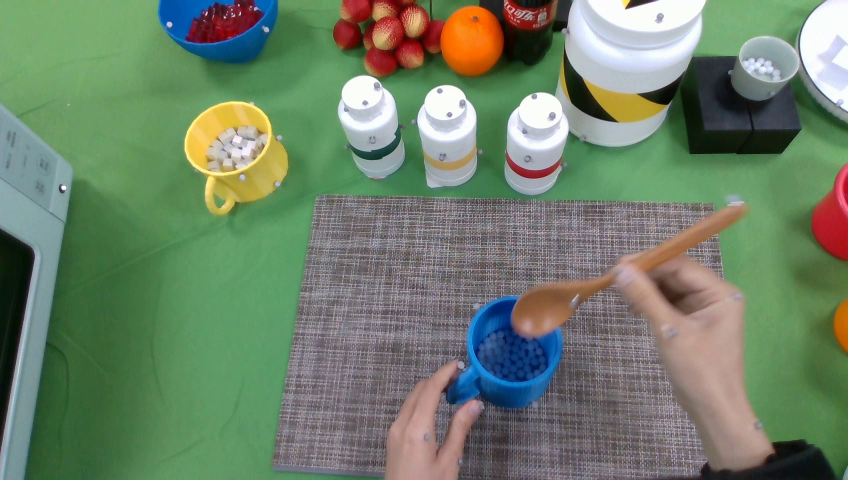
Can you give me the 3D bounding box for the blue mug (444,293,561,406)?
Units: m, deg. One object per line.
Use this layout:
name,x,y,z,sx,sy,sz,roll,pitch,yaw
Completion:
blue mug,0.067,0.114,0.565,0.116,0.106,0.081,-33,67,-9

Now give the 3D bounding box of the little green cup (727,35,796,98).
little green cup,0.362,-0.186,0.655,0.061,0.039,0.061,-1,64,2

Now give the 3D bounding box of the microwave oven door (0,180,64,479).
microwave oven door,-0.426,0.094,0.525,0.039,0.246,0.353,-7,66,2

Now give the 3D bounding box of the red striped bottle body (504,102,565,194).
red striped bottle body,0.117,-0.104,0.652,0.063,0.120,0.062,-3,65,6

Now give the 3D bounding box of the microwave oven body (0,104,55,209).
microwave oven body,-0.574,0.075,0.551,0.326,0.262,0.438,-7,67,1

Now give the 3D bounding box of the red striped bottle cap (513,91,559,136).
red striped bottle cap,0.112,-0.126,0.604,0.044,0.018,0.044,0,65,1

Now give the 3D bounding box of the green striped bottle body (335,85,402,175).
green striped bottle body,-0.062,-0.128,0.677,0.063,0.120,0.062,-2,66,4

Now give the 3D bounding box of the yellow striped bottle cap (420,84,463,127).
yellow striped bottle cap,0.018,-0.137,0.617,0.044,0.019,0.044,0,63,0

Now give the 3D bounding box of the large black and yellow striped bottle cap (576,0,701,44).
large black and yellow striped bottle cap,0.203,-0.236,0.575,0.115,0.019,0.114,-2,65,5

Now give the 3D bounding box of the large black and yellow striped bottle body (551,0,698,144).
large black and yellow striped bottle body,0.211,-0.204,0.652,0.131,0.185,0.130,-2,66,5

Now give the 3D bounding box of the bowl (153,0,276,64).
bowl,-0.257,-0.284,0.784,0.151,0.077,0.150,-2,66,4

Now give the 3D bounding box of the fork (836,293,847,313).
fork,0.460,0.089,0.522,0.028,0.019,0.205,-24,22,-14

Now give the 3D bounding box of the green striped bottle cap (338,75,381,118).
green striped bottle cap,-0.067,-0.149,0.630,0.044,0.020,0.044,-2,64,4

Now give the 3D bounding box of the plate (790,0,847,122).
plate,0.533,-0.209,0.707,0.209,0.038,0.207,-2,67,4

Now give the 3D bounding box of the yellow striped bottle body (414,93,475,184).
yellow striped bottle body,0.024,-0.117,0.665,0.063,0.121,0.062,-2,66,5

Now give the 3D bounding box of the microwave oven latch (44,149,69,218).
microwave oven latch,-0.437,-0.065,0.705,0.030,0.030,0.078,-5,67,2

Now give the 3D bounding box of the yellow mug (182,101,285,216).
yellow mug,-0.225,-0.089,0.703,0.100,0.064,0.130,11,68,9

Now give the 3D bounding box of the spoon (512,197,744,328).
spoon,0.141,0.021,0.444,0.042,0.193,0.021,46,42,-13

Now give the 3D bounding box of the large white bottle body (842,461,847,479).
large white bottle body,0.429,0.202,0.456,0.130,0.186,0.129,-2,66,5
